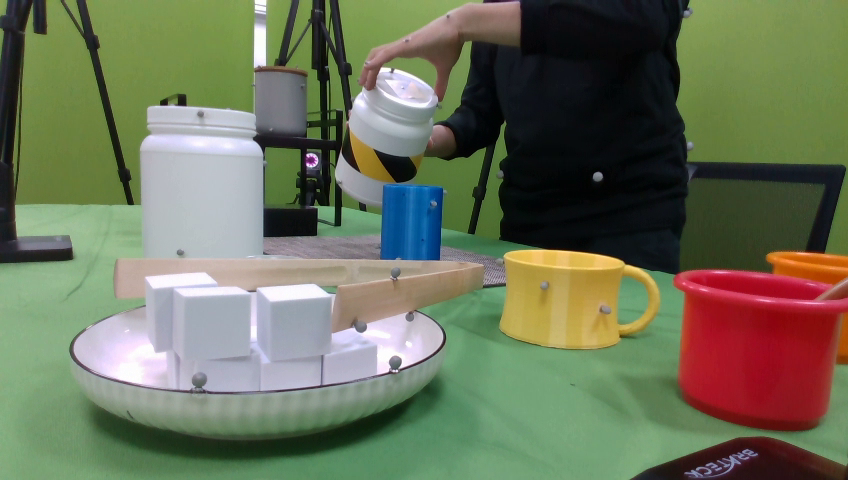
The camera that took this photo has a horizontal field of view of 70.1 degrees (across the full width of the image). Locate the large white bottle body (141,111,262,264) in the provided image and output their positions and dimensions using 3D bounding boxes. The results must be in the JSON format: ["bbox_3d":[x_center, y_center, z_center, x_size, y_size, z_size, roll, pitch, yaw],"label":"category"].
[{"bbox_3d":[-0.254,-0.053,0.697,0.131,0.184,0.130,2,7,0],"label":"large white bottle body"}]

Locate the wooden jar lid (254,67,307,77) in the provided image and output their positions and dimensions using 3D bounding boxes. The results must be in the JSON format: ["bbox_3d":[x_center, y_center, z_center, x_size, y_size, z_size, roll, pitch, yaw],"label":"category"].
[{"bbox_3d":[-0.296,-0.339,1.251,0.108,0.020,0.108,2,7,0],"label":"wooden jar lid"}]

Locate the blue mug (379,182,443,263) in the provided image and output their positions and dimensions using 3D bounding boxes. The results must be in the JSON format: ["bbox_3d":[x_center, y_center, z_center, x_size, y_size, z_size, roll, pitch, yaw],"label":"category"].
[{"bbox_3d":[-0.020,-0.026,0.833,0.082,0.106,0.116,1,7,-7],"label":"blue mug"}]

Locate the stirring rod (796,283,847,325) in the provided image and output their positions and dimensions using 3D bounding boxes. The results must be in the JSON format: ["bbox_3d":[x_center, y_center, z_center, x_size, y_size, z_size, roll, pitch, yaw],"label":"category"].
[{"bbox_3d":[0.347,0.019,0.460,0.014,0.176,0.006,-17,59,-25],"label":"stirring rod"}]

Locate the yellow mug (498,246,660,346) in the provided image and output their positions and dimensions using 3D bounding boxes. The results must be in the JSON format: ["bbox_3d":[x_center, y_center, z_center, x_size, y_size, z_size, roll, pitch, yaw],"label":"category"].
[{"bbox_3d":[0.130,0.045,0.508,0.131,0.064,0.100,4,7,6],"label":"yellow mug"}]

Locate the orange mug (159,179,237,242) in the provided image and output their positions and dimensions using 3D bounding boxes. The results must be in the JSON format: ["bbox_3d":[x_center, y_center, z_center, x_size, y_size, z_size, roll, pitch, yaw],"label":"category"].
[{"bbox_3d":[-0.368,-0.052,0.991,0.127,0.101,0.083,-10,14,-41],"label":"orange mug"}]

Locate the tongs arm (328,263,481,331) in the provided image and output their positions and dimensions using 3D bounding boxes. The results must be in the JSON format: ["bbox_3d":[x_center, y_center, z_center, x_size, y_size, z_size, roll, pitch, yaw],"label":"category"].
[{"bbox_3d":[-0.003,0.036,0.493,0.050,0.026,0.386,1,-1,19],"label":"tongs arm"}]

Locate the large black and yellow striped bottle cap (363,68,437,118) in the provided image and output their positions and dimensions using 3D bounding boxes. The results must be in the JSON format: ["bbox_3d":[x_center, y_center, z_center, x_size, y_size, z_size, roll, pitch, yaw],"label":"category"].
[{"bbox_3d":[-0.035,-0.226,0.920,0.115,0.019,0.115,16,38,-13],"label":"large black and yellow striped bottle cap"}]

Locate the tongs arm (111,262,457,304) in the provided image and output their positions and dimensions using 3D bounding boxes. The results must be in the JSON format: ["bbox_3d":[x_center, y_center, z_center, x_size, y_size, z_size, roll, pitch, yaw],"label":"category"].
[{"bbox_3d":[-0.080,0.033,0.527,0.028,0.027,0.389,-3,-4,33],"label":"tongs arm"}]

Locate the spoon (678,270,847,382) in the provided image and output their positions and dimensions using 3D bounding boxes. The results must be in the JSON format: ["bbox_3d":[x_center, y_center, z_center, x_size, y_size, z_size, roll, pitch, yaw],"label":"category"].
[{"bbox_3d":[0.229,0.031,0.338,0.193,0.021,0.042,-44,-16,27],"label":"spoon"}]

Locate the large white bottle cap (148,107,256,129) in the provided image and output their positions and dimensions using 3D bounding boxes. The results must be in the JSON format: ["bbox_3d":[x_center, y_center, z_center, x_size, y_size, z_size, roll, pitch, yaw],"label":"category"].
[{"bbox_3d":[-0.250,-0.137,0.686,0.115,0.018,0.115,2,8,0],"label":"large white bottle cap"}]

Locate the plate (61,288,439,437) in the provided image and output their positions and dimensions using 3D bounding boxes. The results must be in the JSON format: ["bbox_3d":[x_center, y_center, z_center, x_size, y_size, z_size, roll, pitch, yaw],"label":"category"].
[{"bbox_3d":[-0.095,0.069,0.362,0.208,0.039,0.207,3,7,0],"label":"plate"}]

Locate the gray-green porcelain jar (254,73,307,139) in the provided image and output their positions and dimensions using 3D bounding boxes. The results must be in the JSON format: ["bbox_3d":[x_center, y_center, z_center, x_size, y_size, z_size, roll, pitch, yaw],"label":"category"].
[{"bbox_3d":[-0.298,-0.277,1.259,0.106,0.126,0.106,3,7,0],"label":"gray-green porcelain jar"}]

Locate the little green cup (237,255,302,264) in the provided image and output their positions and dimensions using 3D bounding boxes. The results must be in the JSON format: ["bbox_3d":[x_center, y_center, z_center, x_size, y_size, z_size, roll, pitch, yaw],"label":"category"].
[{"bbox_3d":[-0.150,0.038,0.590,0.061,0.038,0.061,3,6,0],"label":"little green cup"}]

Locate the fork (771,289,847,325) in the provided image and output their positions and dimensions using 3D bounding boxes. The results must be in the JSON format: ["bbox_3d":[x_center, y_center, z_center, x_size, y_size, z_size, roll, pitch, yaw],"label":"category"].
[{"bbox_3d":[0.335,0.018,0.443,0.028,0.018,0.207,-1,-36,-20],"label":"fork"}]

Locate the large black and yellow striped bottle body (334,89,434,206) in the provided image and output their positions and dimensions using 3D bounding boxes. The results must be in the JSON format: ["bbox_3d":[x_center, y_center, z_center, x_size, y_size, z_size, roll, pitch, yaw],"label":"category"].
[{"bbox_3d":[-0.062,-0.162,0.970,0.131,0.184,0.130,14,37,-11],"label":"large black and yellow striped bottle body"}]
